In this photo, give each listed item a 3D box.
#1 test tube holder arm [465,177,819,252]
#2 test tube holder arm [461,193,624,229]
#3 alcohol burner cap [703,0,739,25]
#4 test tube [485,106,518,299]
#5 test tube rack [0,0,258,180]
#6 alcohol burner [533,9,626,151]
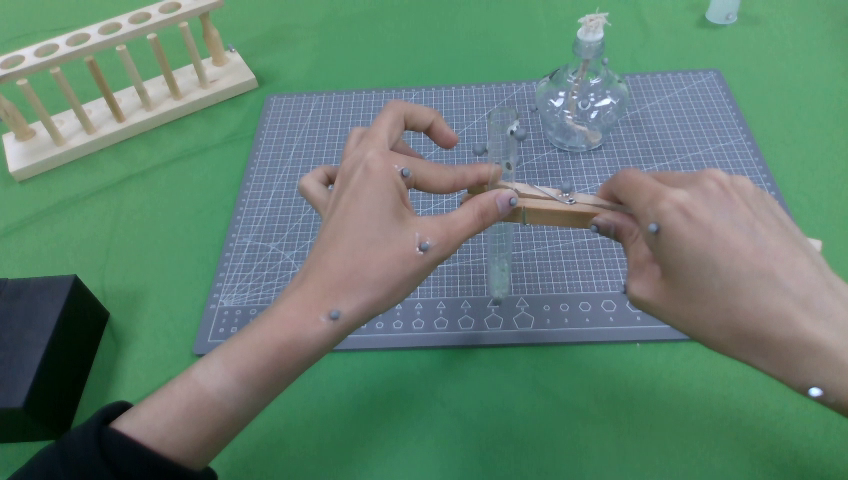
[{"bbox_3d":[0.108,-0.015,0.322,0.177,0.015,0.013,9,57,18],"label":"test tube holder arm"},{"bbox_3d":[0.064,-0.016,0.332,0.087,0.015,0.010,4,55,15],"label":"test tube holder arm"},{"bbox_3d":[0.317,-0.255,0.637,0.034,0.048,0.033,-4,51,5],"label":"alcohol burner cap"},{"bbox_3d":[0.044,-0.013,0.351,0.017,0.151,0.017,-2,49,3],"label":"test tube"},{"bbox_3d":[-0.296,-0.155,0.585,0.242,0.086,0.066,-27,53,-16],"label":"test tube rack"},{"bbox_3d":[0.132,-0.135,0.506,0.078,0.120,0.077,-2,49,3],"label":"alcohol burner"}]
